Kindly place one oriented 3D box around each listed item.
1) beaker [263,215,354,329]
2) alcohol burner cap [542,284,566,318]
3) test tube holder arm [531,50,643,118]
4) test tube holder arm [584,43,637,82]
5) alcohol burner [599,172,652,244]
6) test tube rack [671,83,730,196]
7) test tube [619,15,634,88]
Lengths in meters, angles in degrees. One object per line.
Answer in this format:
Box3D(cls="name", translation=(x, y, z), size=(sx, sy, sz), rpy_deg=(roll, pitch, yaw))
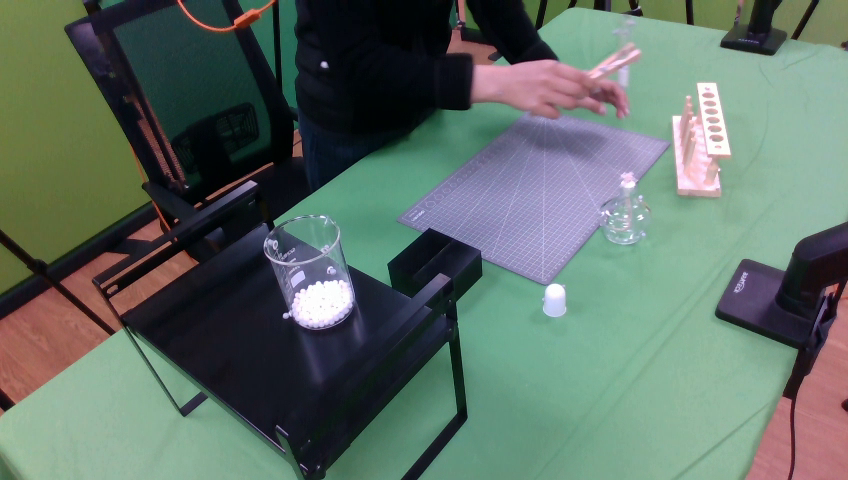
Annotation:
Box3D(cls="beaker", translation=(-0.112, 0.034, 0.616), size=(0.073, 0.101, 0.084), rpy_deg=(13, 44, 23))
Box3D(cls="alcohol burner cap", translation=(0.182, 0.081, 0.839), size=(0.034, 0.048, 0.033), rpy_deg=(-3, 41, 3))
Box3D(cls="test tube holder arm", translation=(0.239, -0.230, 0.890), size=(0.178, 0.015, 0.013), rpy_deg=(-29, 60, 6))
Box3D(cls="test tube holder arm", translation=(0.274, -0.257, 0.889), size=(0.088, 0.015, 0.010), rpy_deg=(-36, 60, 3))
Box3D(cls="alcohol burner", translation=(0.307, -0.052, 0.920), size=(0.078, 0.119, 0.077), rpy_deg=(-6, 41, 5))
Box3D(cls="test tube rack", translation=(0.482, -0.184, 1.067), size=(0.066, 0.085, 0.242), rpy_deg=(5, 42, 15))
Box3D(cls="test tube", translation=(0.294, -0.269, 0.879), size=(0.017, 0.151, 0.017), rpy_deg=(-6, 66, 14))
